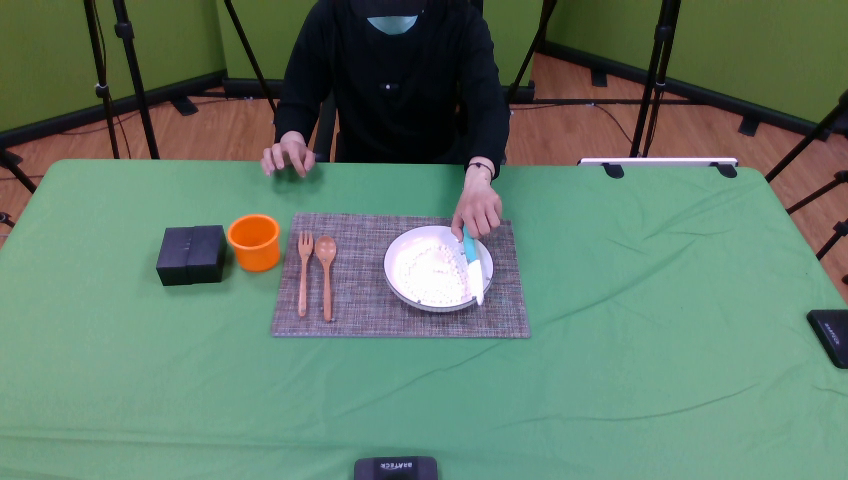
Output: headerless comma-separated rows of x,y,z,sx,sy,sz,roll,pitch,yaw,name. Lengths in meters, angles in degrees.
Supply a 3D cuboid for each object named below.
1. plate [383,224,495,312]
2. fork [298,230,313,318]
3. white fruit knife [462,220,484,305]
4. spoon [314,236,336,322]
0.026,0.055,1.128,0.209,0.038,0.208,2,46,-2,plate
-0.222,0.058,1.121,0.028,0.019,0.206,2,44,-10,fork
0.091,0.038,1.117,0.027,0.016,0.206,-3,46,-2,white fruit knife
-0.180,0.068,1.111,0.042,0.022,0.192,10,43,-20,spoon
